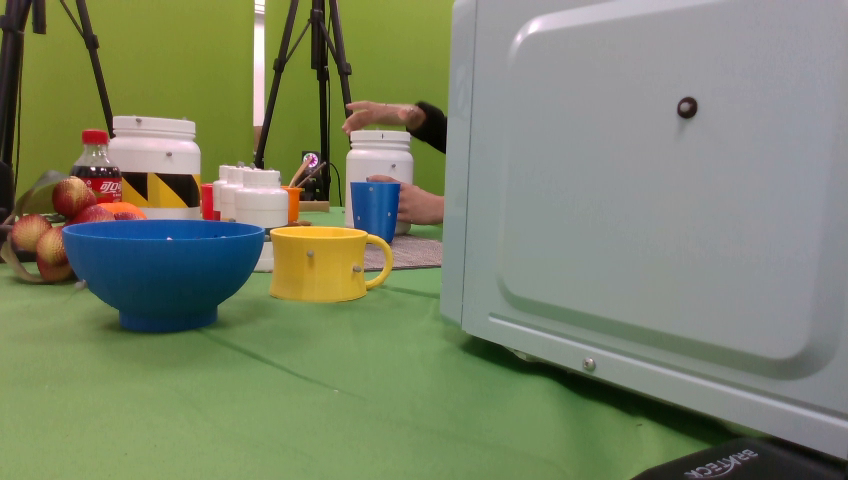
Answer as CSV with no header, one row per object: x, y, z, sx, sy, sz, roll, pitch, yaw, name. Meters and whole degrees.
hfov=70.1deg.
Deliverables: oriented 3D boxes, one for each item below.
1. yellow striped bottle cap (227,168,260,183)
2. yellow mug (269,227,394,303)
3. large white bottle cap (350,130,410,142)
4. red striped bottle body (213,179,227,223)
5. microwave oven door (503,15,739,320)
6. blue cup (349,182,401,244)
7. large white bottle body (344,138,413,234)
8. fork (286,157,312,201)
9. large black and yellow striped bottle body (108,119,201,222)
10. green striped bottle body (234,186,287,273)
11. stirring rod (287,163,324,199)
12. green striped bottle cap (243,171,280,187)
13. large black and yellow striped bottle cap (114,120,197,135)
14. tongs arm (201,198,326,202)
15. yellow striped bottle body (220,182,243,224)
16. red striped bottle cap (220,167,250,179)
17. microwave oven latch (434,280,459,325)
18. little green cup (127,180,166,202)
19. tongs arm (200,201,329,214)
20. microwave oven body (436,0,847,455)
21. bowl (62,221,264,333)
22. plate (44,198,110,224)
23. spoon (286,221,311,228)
-0.243,-0.087,0.818,0.044,0.018,0.044,3,6,0,yellow striped bottle cap
-0.094,0.023,0.629,0.131,0.064,0.099,0,7,-22,yellow mug
-0.084,-0.197,1.153,0.115,0.018,0.115,1,6,0,large white bottle cap
-0.284,-0.048,0.909,0.063,0.119,0.063,3,12,0,red striped bottle body
0.218,-0.065,0.600,0.358,0.243,0.039,-4,10,-41,microwave oven door
-0.082,-0.046,1.009,0.093,0.100,0.092,1,6,0,blue cup
-0.087,-0.109,1.165,0.131,0.184,0.130,2,8,0,large white bottle body
-0.289,-0.116,1.321,0.028,0.019,0.207,6,51,19,fork
-0.412,-0.088,0.930,0.131,0.184,0.130,3,7,0,large black and yellow striped bottle body
-0.200,-0.023,0.743,0.063,0.119,0.063,2,7,0,green striped bottle body
-0.278,-0.105,1.293,0.176,0.006,0.014,-47,24,-18,stirring rod
-0.198,-0.074,0.736,0.044,0.020,0.044,1,7,0,green striped bottle cap
-0.407,-0.171,0.920,0.115,0.019,0.115,2,9,0,large black and yellow striped bottle cap
-0.433,-0.090,1.508,0.390,0.028,0.028,-1,2,-29,tongs arm
-0.246,-0.036,0.825,0.063,0.120,0.063,3,8,0,yellow striped bottle body
-0.281,-0.099,0.901,0.044,0.017,0.044,-1,5,0,red striped bottle cap
0.044,0.045,0.470,0.079,0.029,0.030,-2,8,-39,microwave oven latch
-0.485,-0.086,1.061,0.061,0.038,0.061,1,7,0,little green cup
-0.378,-0.079,1.440,0.387,0.026,0.050,-4,8,-44,tongs arm
0.279,-0.040,0.465,0.444,0.260,0.324,-3,9,-41,microwave oven body
-0.209,0.029,0.496,0.151,0.077,0.151,2,7,0,bowl
-0.617,-0.056,1.179,0.209,0.038,0.209,3,7,0,plate
-0.232,-0.027,1.116,0.041,0.021,0.193,-22,6,4,spoon
